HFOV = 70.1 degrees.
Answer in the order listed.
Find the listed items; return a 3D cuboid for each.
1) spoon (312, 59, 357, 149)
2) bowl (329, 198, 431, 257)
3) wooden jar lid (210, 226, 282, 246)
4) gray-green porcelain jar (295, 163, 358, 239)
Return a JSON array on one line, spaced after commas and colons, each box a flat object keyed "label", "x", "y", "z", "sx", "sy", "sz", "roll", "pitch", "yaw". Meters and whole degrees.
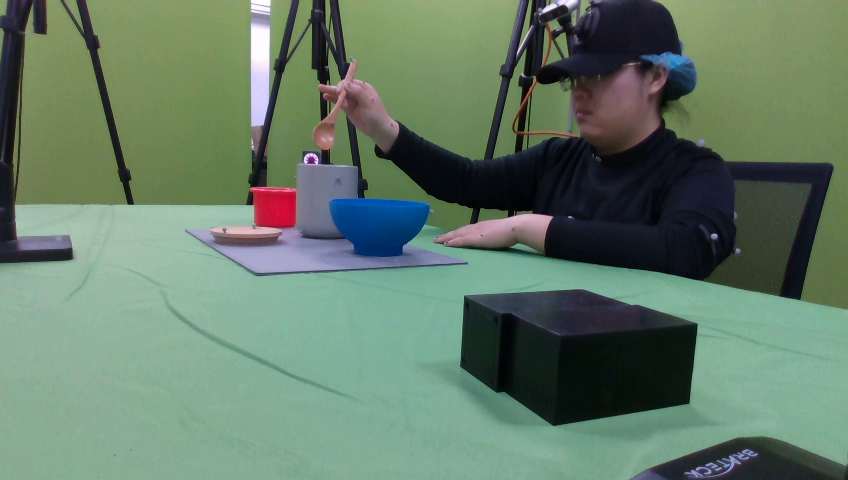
[{"label": "spoon", "x": -0.155, "y": -0.247, "z": 1.092, "sx": 0.042, "sy": 0.193, "sz": 0.021, "roll": 29, "pitch": -18, "yaw": -26}, {"label": "bowl", "x": -0.066, "y": -0.019, "z": 0.895, "sx": 0.151, "sy": 0.077, "sz": 0.151, "roll": 3, "pitch": 7, "yaw": 0}, {"label": "wooden jar lid", "x": -0.279, "y": -0.006, "z": 0.951, "sx": 0.108, "sy": 0.020, "sz": 0.108, "roll": 2, "pitch": 8, "yaw": 0}, {"label": "gray-green porcelain jar", "x": -0.170, "y": -0.069, "z": 1.054, "sx": 0.106, "sy": 0.126, "sz": 0.106, "roll": 3, "pitch": 7, "yaw": 0}]
